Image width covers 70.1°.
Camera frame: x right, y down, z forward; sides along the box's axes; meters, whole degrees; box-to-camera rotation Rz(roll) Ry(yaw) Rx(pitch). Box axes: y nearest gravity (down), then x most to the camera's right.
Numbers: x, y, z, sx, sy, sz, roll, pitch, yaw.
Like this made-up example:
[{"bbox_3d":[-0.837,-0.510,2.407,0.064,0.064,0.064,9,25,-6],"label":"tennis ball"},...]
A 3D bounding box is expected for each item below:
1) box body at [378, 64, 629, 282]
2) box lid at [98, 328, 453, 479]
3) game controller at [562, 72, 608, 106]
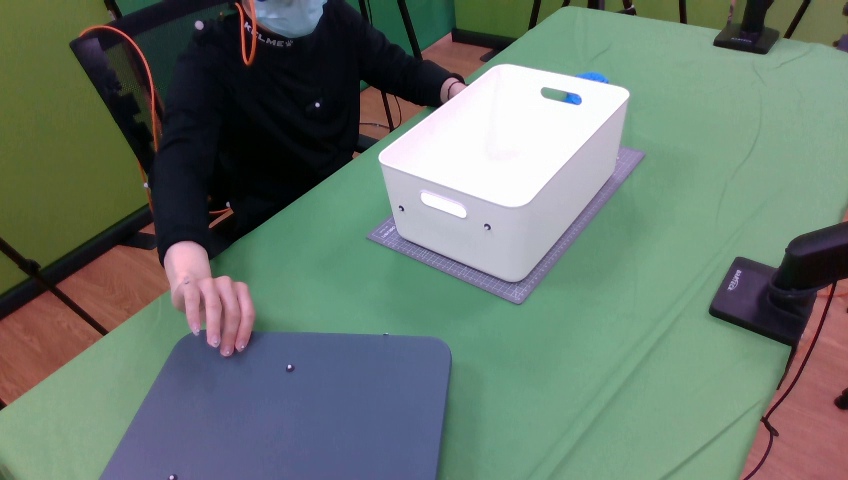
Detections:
[{"bbox_3d":[0.137,-0.121,0.978,0.252,0.161,0.365,22,48,30],"label":"box body"},{"bbox_3d":[-0.157,0.209,0.690,0.371,0.015,0.262,1,41,9],"label":"box lid"},{"bbox_3d":[0.326,-0.306,1.260,0.096,0.052,0.155,14,45,17],"label":"game controller"}]
